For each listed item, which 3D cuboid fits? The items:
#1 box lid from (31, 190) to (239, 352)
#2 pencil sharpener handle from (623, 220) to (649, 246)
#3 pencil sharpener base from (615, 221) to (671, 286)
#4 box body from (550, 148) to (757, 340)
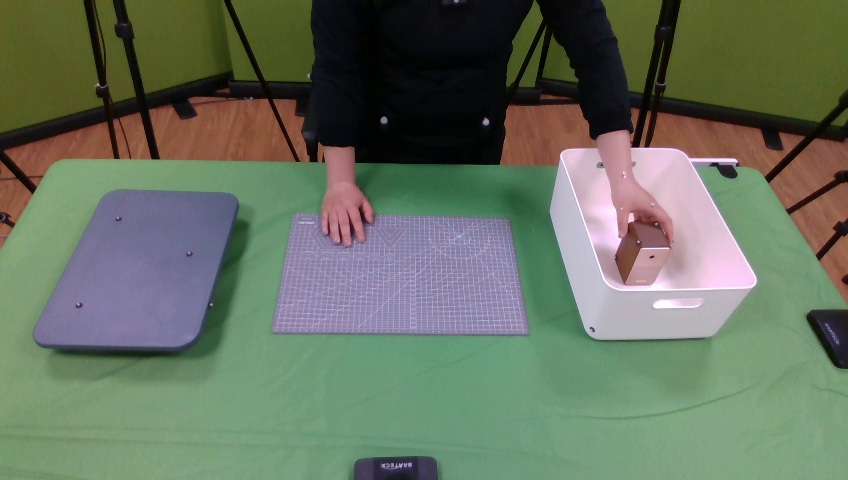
[{"bbox_3d":[-0.491,0.040,1.070,0.263,0.015,0.369,1,46,-3],"label":"box lid"},{"bbox_3d":[0.402,-0.020,1.163,0.036,0.068,0.030,5,43,-10],"label":"pencil sharpener handle"},{"bbox_3d":[0.407,0.025,1.136,0.061,0.107,0.076,-2,44,-4],"label":"pencil sharpener base"},{"bbox_3d":[0.395,0.003,1.127,0.254,0.161,0.361,-1,46,-5],"label":"box body"}]
